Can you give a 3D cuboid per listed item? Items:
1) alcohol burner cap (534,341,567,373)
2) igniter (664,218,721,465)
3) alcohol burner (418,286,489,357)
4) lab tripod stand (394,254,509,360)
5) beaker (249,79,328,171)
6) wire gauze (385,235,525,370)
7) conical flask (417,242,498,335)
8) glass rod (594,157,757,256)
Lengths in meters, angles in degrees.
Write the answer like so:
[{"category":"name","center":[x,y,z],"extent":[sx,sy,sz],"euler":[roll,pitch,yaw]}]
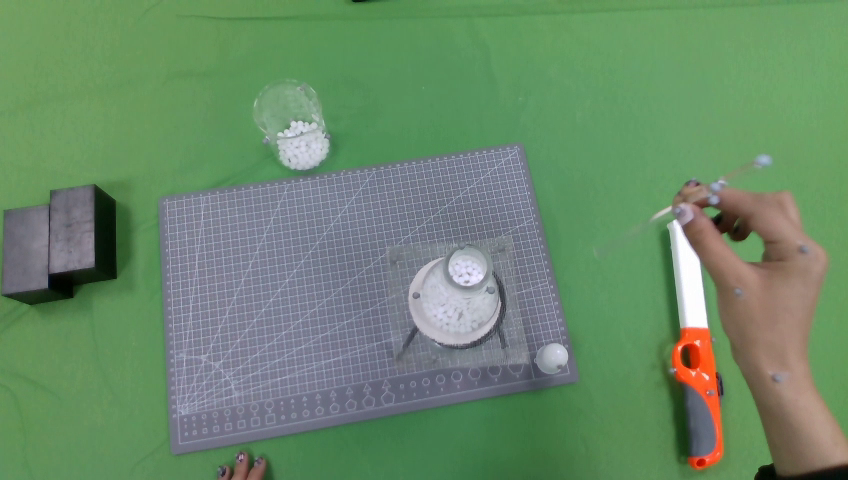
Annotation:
[{"category":"alcohol burner cap","center":[0.141,0.127,0.664],"extent":[0.034,0.048,0.033],"euler":[0,73,-1]},{"category":"igniter","center":[0.301,0.108,0.683],"extent":[0.057,0.025,0.275],"euler":[4,73,-10]},{"category":"alcohol burner","center":[0.031,0.083,0.639],"extent":[0.078,0.120,0.077],"euler":[0,73,2]},{"category":"lab tripod stand","center":[0.030,0.079,0.630],"extent":[0.148,0.132,0.147],"euler":[0,74,0]},{"category":"beaker","center":[-0.151,-0.129,0.712],"extent":[0.084,0.101,0.074],"euler":[25,74,6]},{"category":"wire gauze","center":[0.028,0.058,0.567],"extent":[0.125,0.011,0.121],"euler":[-3,76,-4]},{"category":"conical flask","center":[0.031,0.036,0.512],"extent":[0.075,0.122,0.075],"euler":[0,74,-1]},{"category":"glass rod","center":[0.168,-0.016,0.435],"extent":[0.008,0.200,0.008],"euler":[3,73,-10]}]
